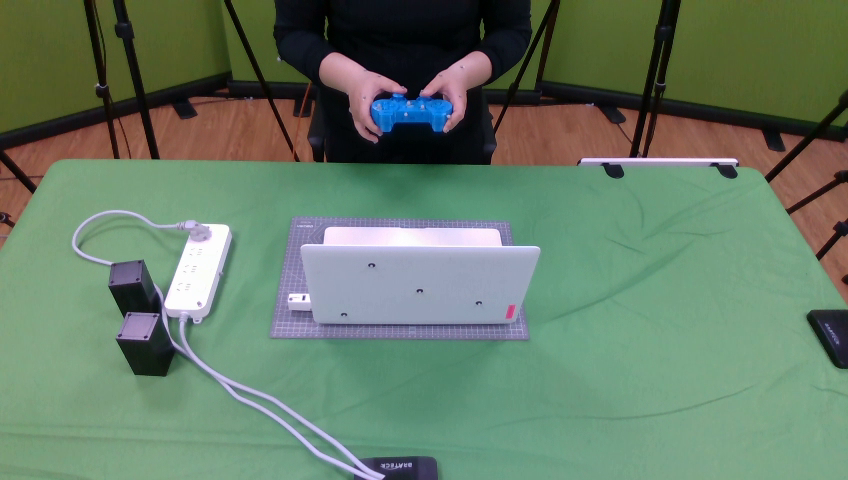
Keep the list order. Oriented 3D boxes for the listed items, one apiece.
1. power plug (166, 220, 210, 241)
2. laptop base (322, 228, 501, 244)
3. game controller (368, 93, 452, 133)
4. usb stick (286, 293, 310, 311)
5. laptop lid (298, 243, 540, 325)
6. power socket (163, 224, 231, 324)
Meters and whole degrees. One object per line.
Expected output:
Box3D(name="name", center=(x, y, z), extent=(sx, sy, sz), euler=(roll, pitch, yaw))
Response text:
Box3D(name="power plug", center=(-0.440, -0.016, 1.144), extent=(0.072, 0.053, 0.035), euler=(8, 46, 9))
Box3D(name="laptop base", center=(-0.020, 0.063, 1.136), extent=(0.355, 0.023, 0.234), euler=(0, 43, -4))
Box3D(name="game controller", center=(-0.024, -0.234, 1.087), extent=(0.155, 0.052, 0.096), euler=(-1, 39, -3))
Box3D(name="usb stick", center=(-0.210, 0.109, 1.059), extent=(0.059, 0.027, 0.021), euler=(4, 44, -6))
Box3D(name="laptop lid", center=(-0.010, 0.076, 0.958), extent=(0.357, 0.243, 0.013), euler=(1, 53, -5))
Box3D(name="power socket", center=(-0.411, 0.052, 1.107), extent=(0.072, 0.033, 0.225), euler=(3, 46, -3))
